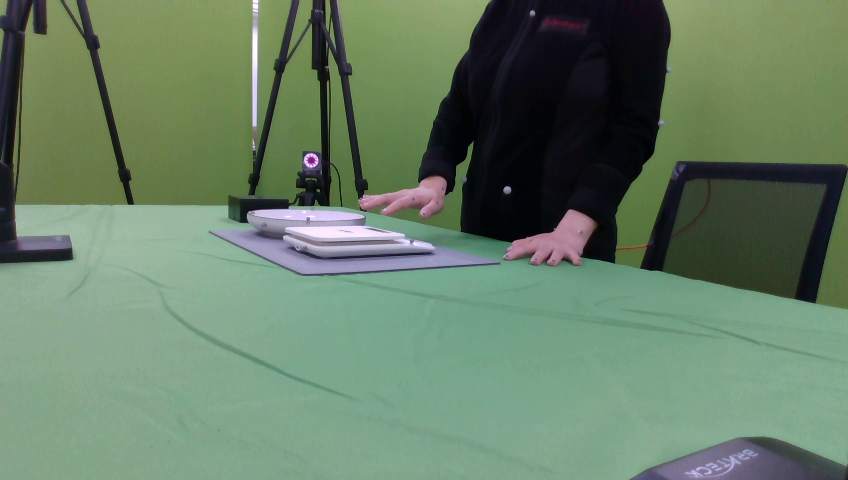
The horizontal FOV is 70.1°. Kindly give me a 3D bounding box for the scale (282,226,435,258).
[{"bbox_3d":[-0.098,0.000,0.914,0.202,0.031,0.148,-2,9,-33],"label":"scale"}]

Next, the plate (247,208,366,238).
[{"bbox_3d":[-0.208,-0.030,1.082,0.209,0.038,0.209,2,7,0],"label":"plate"}]
